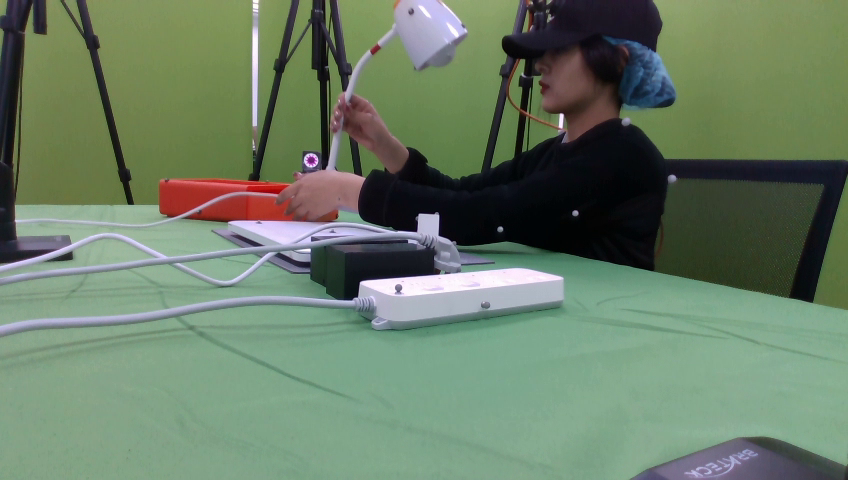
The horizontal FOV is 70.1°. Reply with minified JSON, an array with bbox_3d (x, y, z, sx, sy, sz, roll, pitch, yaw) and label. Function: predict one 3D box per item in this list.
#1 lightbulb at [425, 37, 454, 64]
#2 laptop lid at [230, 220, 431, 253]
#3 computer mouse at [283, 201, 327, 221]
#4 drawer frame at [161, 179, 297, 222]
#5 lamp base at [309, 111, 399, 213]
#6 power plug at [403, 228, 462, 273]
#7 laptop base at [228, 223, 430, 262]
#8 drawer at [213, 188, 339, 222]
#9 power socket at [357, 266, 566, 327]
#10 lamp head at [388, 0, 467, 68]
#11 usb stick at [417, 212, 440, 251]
[{"bbox_3d":[0.008,-0.358,1.057,0.059,0.107,0.059,-37,4,3],"label":"lightbulb"},{"bbox_3d":[-0.143,-0.009,0.942,0.243,0.013,0.355,1,7,-31],"label":"laptop lid"},{"bbox_3d":[-0.253,-0.062,1.293,0.063,0.041,0.117,1,2,10],"label":"computer mouse"},{"bbox_3d":[-0.421,-0.089,1.330,0.213,0.082,0.202,4,8,16],"label":"drawer frame"},{"bbox_3d":[-0.127,-0.151,1.164,0.179,0.180,0.160,7,10,-3],"label":"lamp base"},{"bbox_3d":[0.006,0.016,0.647,0.073,0.052,0.035,17,12,-5],"label":"power plug"},{"bbox_3d":[-0.145,0.002,0.943,0.237,0.023,0.352,2,6,-32],"label":"laptop base"},{"bbox_3d":[-0.314,-0.078,1.300,0.211,0.073,0.195,3,8,15],"label":"drawer"},{"bbox_3d":[0.042,0.049,0.573,0.228,0.032,0.072,-3,8,-34],"label":"power socket"},{"bbox_3d":[-0.005,-0.379,1.062,0.112,0.123,0.112,-41,3,3],"label":"lamp head"},{"bbox_3d":[0.005,-0.003,0.721,0.027,0.059,0.021,0,-3,-2],"label":"usb stick"}]
